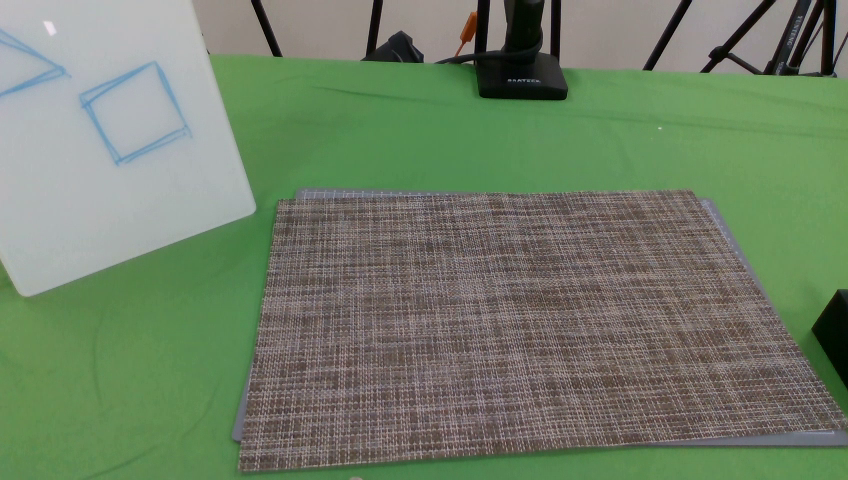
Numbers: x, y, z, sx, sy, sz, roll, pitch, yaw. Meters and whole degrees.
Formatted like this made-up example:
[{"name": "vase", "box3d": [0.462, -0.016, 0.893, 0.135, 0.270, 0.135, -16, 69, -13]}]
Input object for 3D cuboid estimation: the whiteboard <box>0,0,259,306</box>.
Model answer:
[{"name": "whiteboard", "box3d": [-0.316, -0.137, 0.552, 0.217, 0.308, 0.142, -24, 29, -27]}]
